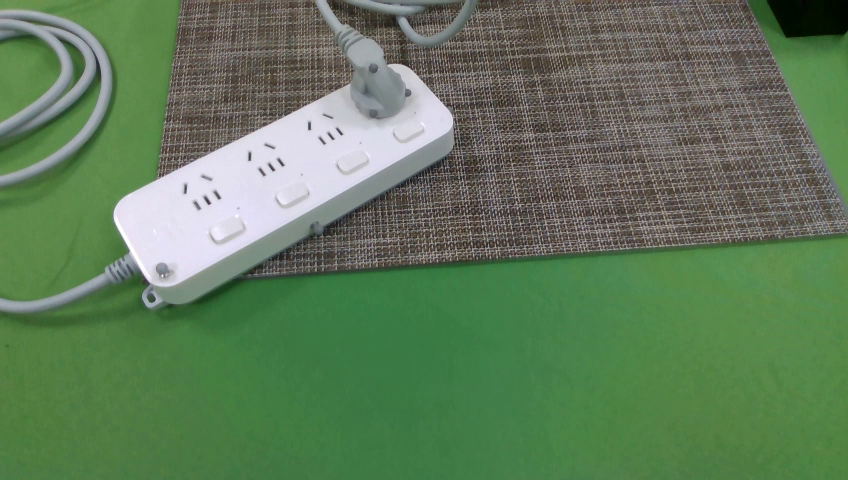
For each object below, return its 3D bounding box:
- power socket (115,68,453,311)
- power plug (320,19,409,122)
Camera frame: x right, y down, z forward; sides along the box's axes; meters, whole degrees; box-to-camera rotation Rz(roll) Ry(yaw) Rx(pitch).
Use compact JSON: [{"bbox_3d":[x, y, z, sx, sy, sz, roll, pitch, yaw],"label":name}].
[{"bbox_3d":[-0.081,-0.039,0.382,0.227,0.033,0.071,-32,67,-17],"label":"power socket"},{"bbox_3d":[-0.037,-0.108,0.394,0.035,0.053,0.072,-22,66,-12],"label":"power plug"}]
